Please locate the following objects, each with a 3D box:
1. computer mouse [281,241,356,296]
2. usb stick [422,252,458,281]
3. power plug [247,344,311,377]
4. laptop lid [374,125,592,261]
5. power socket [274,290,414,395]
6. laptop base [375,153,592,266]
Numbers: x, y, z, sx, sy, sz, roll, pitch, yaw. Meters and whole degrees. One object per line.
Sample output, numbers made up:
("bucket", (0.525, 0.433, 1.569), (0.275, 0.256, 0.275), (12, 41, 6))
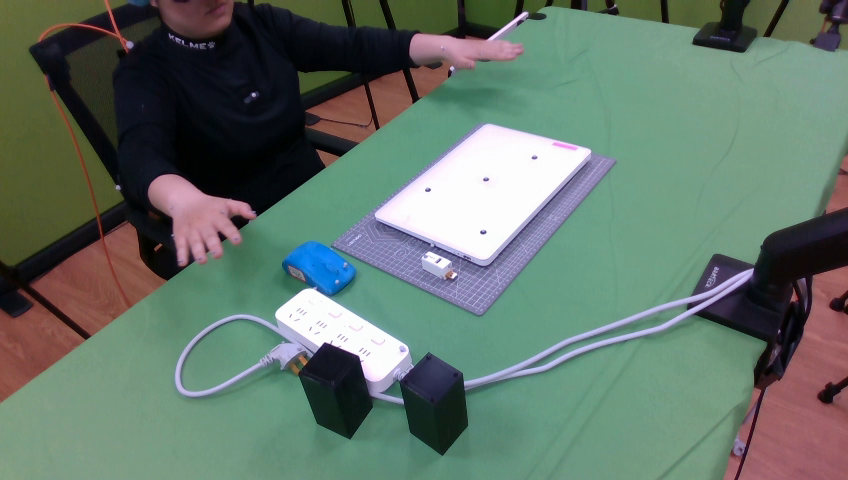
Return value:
("computer mouse", (-0.164, 0.041, 0.934), (0.116, 0.041, 0.063), (27, 49, 28))
("usb stick", (0.025, 0.042, 0.908), (0.058, 0.027, 0.021), (27, 49, 31))
("power plug", (-0.187, 0.168, 0.798), (0.072, 0.035, 0.052), (-42, 70, -5))
("laptop lid", (0.109, -0.101, 1.057), (0.239, 0.013, 0.358), (23, 48, 34))
("power socket", (-0.114, 0.134, 0.820), (0.225, 0.033, 0.072), (25, 49, 33))
("laptop base", (0.112, -0.091, 1.063), (0.233, 0.023, 0.355), (21, 47, 34))
